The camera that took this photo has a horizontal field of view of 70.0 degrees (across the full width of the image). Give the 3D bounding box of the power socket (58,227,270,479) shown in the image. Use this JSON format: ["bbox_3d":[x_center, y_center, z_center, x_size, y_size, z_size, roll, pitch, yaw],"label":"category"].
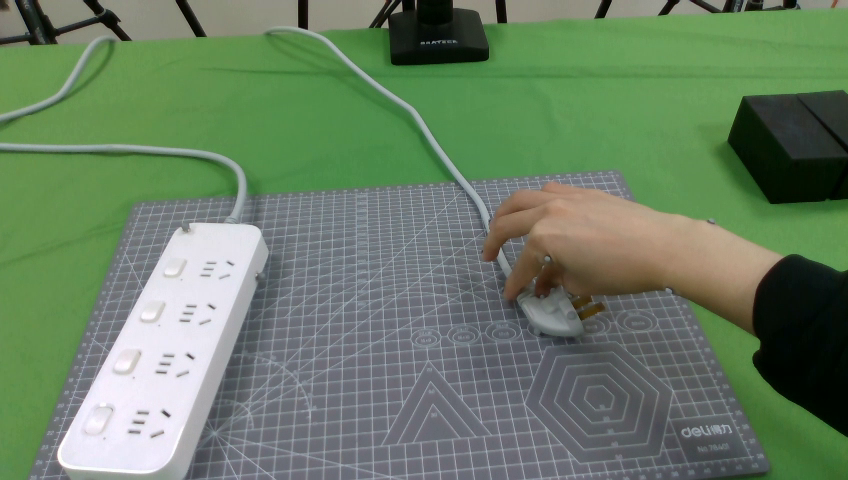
[{"bbox_3d":[-0.168,0.071,0.421,0.072,0.033,0.224,3,44,4],"label":"power socket"}]

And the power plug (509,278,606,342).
[{"bbox_3d":[0.095,0.041,0.440,0.052,0.035,0.072,-24,57,1],"label":"power plug"}]
